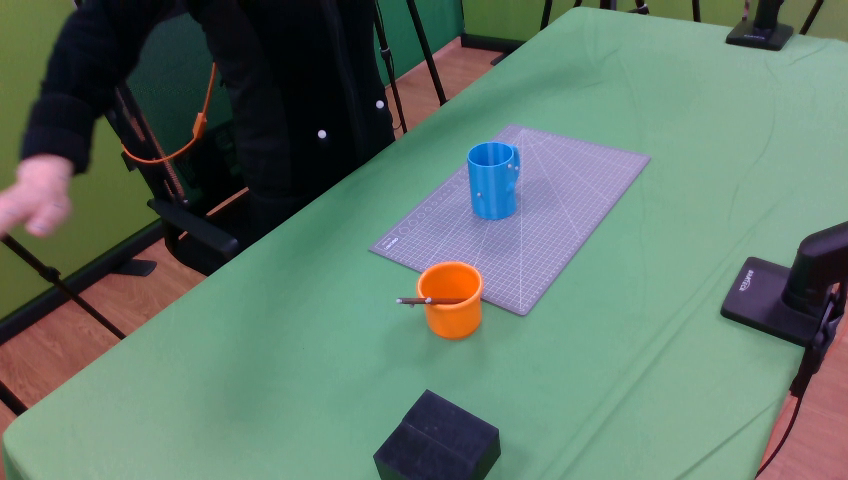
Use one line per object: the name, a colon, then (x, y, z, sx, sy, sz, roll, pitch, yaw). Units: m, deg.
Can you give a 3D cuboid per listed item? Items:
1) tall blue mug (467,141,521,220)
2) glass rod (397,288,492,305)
tall blue mug: (0.119, -0.109, 1.020, 0.077, 0.108, 0.107, 3, 42, 15)
glass rod: (0.033, 0.074, 0.802, 0.008, 0.008, 0.201, 28, 18, 36)
